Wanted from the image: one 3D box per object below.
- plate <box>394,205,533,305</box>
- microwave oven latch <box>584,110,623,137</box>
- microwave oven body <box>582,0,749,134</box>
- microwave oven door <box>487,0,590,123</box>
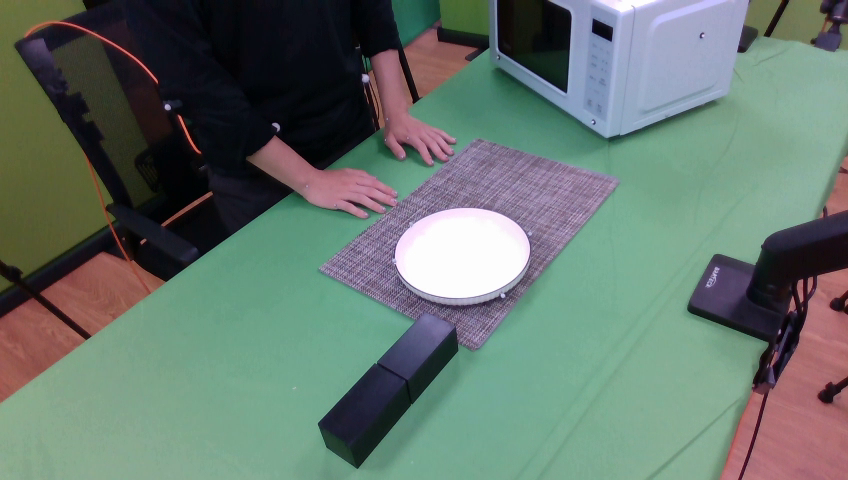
[{"bbox_3d":[0.059,0.025,0.915,0.207,0.039,0.206,-4,41,4],"label":"plate"},{"bbox_3d":[0.337,-0.222,1.142,0.030,0.029,0.078,-21,42,-15],"label":"microwave oven latch"},{"bbox_3d":[0.382,-0.444,1.246,0.327,0.261,0.437,-22,42,-16],"label":"microwave oven body"},{"bbox_3d":[0.232,-0.420,1.231,0.039,0.245,0.352,-22,43,-16],"label":"microwave oven door"}]
